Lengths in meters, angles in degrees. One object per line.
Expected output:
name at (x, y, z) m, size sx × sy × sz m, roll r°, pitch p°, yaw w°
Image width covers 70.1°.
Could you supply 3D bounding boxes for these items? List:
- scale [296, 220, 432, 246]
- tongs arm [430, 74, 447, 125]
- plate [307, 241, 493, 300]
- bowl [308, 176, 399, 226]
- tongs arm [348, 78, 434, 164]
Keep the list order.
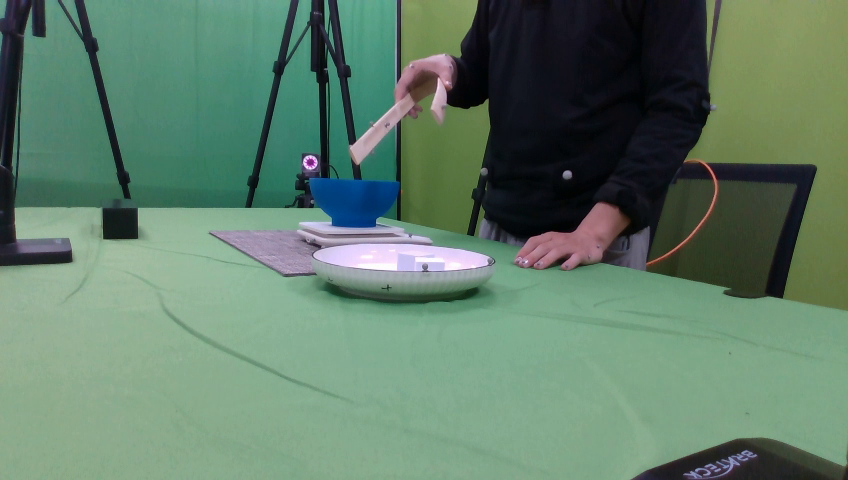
scale at (-0.101, -0.012, 1.017) m, size 0.202 × 0.031 × 0.148 m, roll -1°, pitch 8°, yaw -30°
tongs arm at (0.020, -0.227, 0.950) m, size 0.028 × 0.028 × 0.387 m, roll -29°, pitch 17°, yaw 13°
plate at (-0.026, 0.034, 0.684) m, size 0.208 × 0.039 × 0.207 m, roll 2°, pitch 7°, yaw 0°
bowl at (-0.117, -0.064, 1.001) m, size 0.151 × 0.077 × 0.151 m, roll 2°, pitch 6°, yaw 0°
tongs arm at (-0.041, -0.202, 0.970) m, size 0.050 × 0.026 × 0.385 m, roll -23°, pitch 19°, yaw 21°
